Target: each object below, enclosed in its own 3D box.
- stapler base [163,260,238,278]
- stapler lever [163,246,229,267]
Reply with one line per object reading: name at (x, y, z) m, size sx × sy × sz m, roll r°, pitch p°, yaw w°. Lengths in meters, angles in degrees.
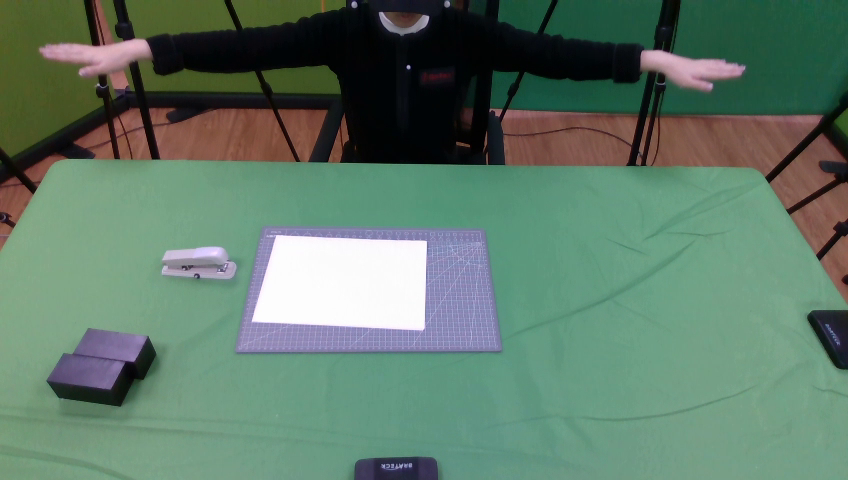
stapler base at (-0.415, 0.046, 1.120) m, size 0.130 × 0.024 × 0.041 m, roll 2°, pitch 43°, yaw 0°
stapler lever at (-0.415, 0.029, 1.103) m, size 0.118 × 0.040 × 0.026 m, roll 3°, pitch 43°, yaw 0°
